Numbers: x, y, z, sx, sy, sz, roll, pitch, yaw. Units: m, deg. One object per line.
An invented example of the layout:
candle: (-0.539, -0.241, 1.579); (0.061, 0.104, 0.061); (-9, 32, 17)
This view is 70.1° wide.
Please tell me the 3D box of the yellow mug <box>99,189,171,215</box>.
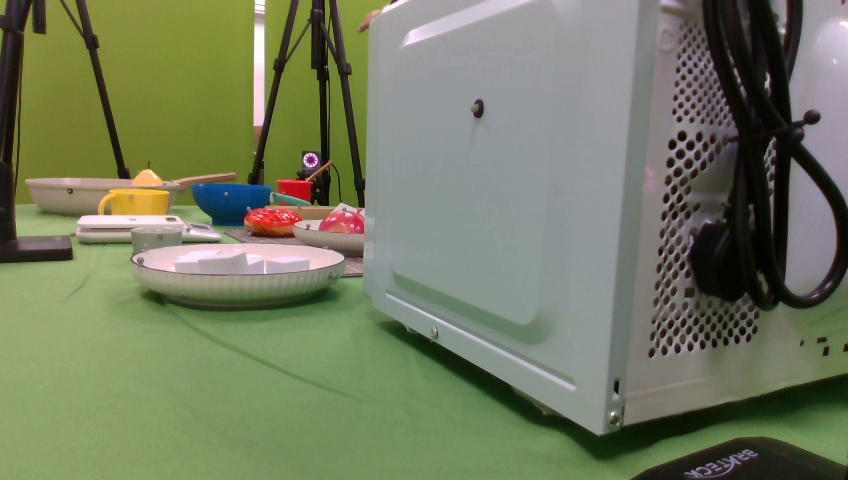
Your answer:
yellow mug: (-0.519, -0.055, 1.080); (0.099, 0.064, 0.131); (7, 9, 26)

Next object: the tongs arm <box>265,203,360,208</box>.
tongs arm: (-0.210, -0.069, 1.438); (0.389, 0.027, 0.028); (1, 0, -17)

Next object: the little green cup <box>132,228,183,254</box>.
little green cup: (-0.342, 0.006, 0.779); (0.061, 0.038, 0.061); (2, 8, 0)

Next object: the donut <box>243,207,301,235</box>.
donut: (-0.261, -0.032, 1.043); (0.099, 0.048, 0.099); (4, 9, 0)

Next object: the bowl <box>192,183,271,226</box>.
bowl: (-0.382, -0.071, 1.202); (0.151, 0.077, 0.151); (3, 7, 0)

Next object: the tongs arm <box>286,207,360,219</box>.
tongs arm: (-0.173, -0.060, 1.363); (0.387, 0.026, 0.050); (-1, 4, -31)

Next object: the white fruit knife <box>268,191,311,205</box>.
white fruit knife: (-0.364, -0.105, 1.463); (0.208, 0.027, 0.016); (15, -2, -34)

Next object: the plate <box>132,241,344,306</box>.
plate: (-0.187, 0.033, 0.625); (0.208, 0.039, 0.207); (2, 7, 0)

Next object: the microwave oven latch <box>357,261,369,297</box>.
microwave oven latch: (-0.019, 0.033, 0.530); (0.079, 0.029, 0.030); (-1, 7, -26)

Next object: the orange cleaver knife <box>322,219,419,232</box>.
orange cleaver knife: (-0.097, -0.027, 1.153); (0.077, 0.012, 0.212); (1, 7, 41)

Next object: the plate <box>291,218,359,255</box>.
plate: (-0.098, -0.007, 0.928); (0.209, 0.038, 0.209); (2, 8, 0)

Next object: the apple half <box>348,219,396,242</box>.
apple half: (-0.083, -0.018, 0.967); (0.081, 0.033, 0.081); (5, 10, 0)

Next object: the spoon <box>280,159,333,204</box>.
spoon: (-0.316, -0.159, 1.640); (0.194, 0.022, 0.041); (-50, 32, -20)

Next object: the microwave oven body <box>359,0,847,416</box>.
microwave oven body: (0.211, -0.047, 0.474); (0.444, 0.260, 0.324); (-1, 7, -28)

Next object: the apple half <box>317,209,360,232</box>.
apple half: (-0.121, -0.020, 0.900); (0.080, 0.053, 0.075); (4, 11, 14)

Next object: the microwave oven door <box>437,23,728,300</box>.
microwave oven door: (0.181, -0.072, 0.621); (0.358, 0.243, 0.039); (-2, 8, -29)

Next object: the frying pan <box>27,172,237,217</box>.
frying pan: (-0.624, -0.118, 1.387); (0.305, 0.102, 0.490); (8, 17, 32)

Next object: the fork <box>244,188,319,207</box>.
fork: (-0.356, -0.105, 1.526); (0.208, 0.018, 0.028); (16, -5, -41)

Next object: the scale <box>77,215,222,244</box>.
scale: (-0.434, -0.019, 0.963); (0.202, 0.031, 0.148); (-1, 9, -27)

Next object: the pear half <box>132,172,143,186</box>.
pear half: (-0.638, -0.113, 1.361); (0.031, 0.088, 0.070); (5, 11, 4)

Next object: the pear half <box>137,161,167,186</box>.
pear half: (-0.602, -0.120, 1.354); (0.056, 0.110, 0.076); (4, 11, 6)
